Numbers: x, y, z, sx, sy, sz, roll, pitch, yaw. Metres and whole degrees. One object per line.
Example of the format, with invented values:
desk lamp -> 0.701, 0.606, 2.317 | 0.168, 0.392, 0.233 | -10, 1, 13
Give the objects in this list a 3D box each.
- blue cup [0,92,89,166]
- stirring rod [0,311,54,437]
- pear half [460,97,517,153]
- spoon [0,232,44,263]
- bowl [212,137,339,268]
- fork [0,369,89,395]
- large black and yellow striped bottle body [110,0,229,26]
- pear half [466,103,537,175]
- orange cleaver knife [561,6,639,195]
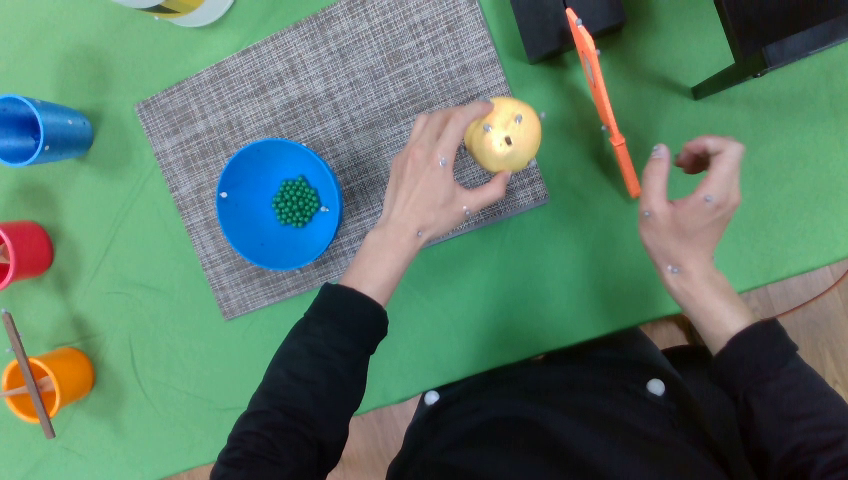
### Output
blue cup -> -0.481, -0.138, 0.759 | 0.092, 0.100, 0.093 | 2, 100, 10
stirring rod -> -0.519, 0.176, 0.790 | 0.014, 0.006, 0.176 | -16, 96, 11
pear half -> 0.059, -0.120, 0.606 | 0.031, 0.087, 0.070 | 37, 106, -11
spoon -> -0.607, 0.029, 0.791 | 0.194, 0.021, 0.042 | -18, 98, -30
bowl -> -0.162, -0.046, 0.717 | 0.151, 0.077, 0.151 | 2, 99, 12
fork -> -0.563, 0.201, 0.805 | 0.208, 0.018, 0.028 | -7, 110, -31
large black and yellow striped bottle body -> -0.304, -0.316, 0.653 | 0.130, 0.184, 0.131 | 2, 98, 12
pear half -> 0.085, -0.094, 0.604 | 0.056, 0.109, 0.076 | 37, 106, -10
orange cleaver knife -> 0.184, -0.141, 0.632 | 0.012, 0.076, 0.213 | -25, 123, 11
